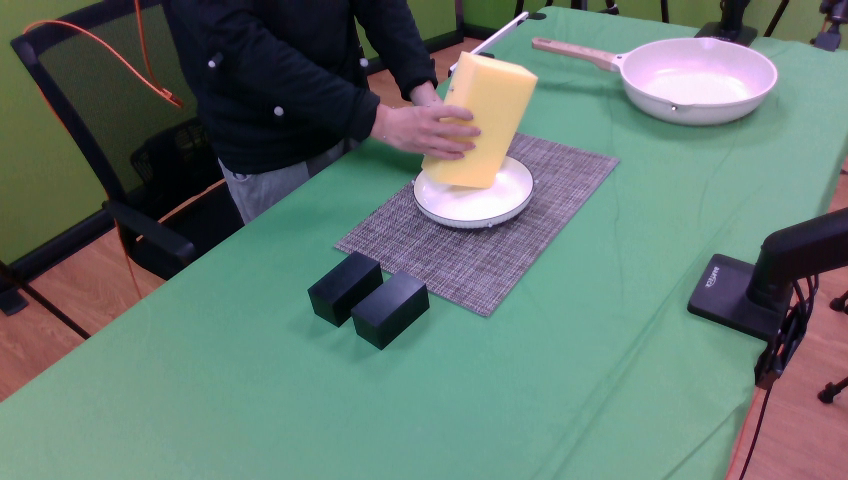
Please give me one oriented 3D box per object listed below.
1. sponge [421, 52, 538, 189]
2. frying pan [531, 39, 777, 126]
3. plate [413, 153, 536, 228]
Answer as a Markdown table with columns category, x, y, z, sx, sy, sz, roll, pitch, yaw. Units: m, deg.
| category | x | y | z | sx | sy | sz | roll | pitch | yaw |
| --- | --- | --- | --- | --- | --- | --- | --- | --- | --- |
| sponge | 0.088 | -0.191 | 1.002 | 0.119 | 0.207 | 0.060 | 5 | 31 | -30 |
| frying pan | 0.452 | -0.354 | 1.254 | 0.485 | 0.103 | 0.307 | 22 | 47 | 19 |
| plate | 0.086 | -0.085 | 1.038 | 0.207 | 0.039 | 0.206 | -4 | 41 | 4 |
